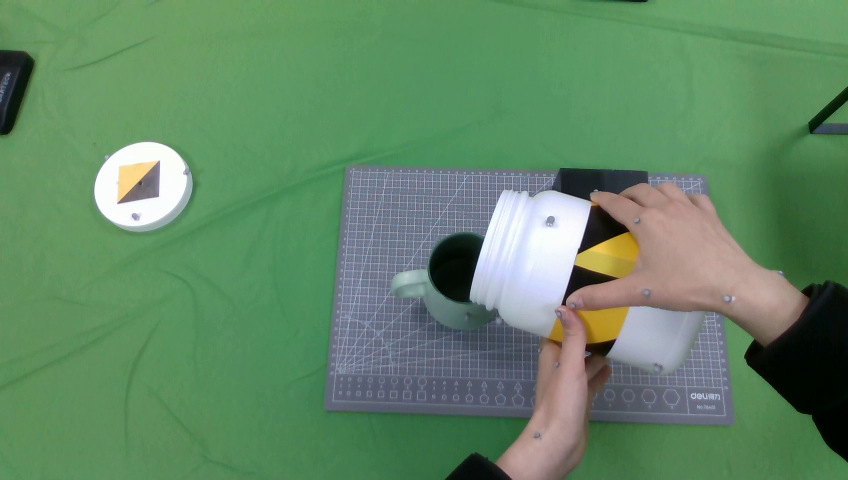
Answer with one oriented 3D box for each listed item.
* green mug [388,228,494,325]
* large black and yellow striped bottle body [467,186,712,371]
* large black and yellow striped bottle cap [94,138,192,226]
[{"bbox_3d":[0.023,0.042,0.659,0.125,0.105,0.092,-5,72,-1],"label":"green mug"},{"bbox_3d":[0.141,0.028,0.542,0.183,0.131,0.130,18,72,9],"label":"large black and yellow striped bottle body"},{"bbox_3d":[-0.347,-0.073,0.747,0.115,0.019,0.114,0,71,0],"label":"large black and yellow striped bottle cap"}]
